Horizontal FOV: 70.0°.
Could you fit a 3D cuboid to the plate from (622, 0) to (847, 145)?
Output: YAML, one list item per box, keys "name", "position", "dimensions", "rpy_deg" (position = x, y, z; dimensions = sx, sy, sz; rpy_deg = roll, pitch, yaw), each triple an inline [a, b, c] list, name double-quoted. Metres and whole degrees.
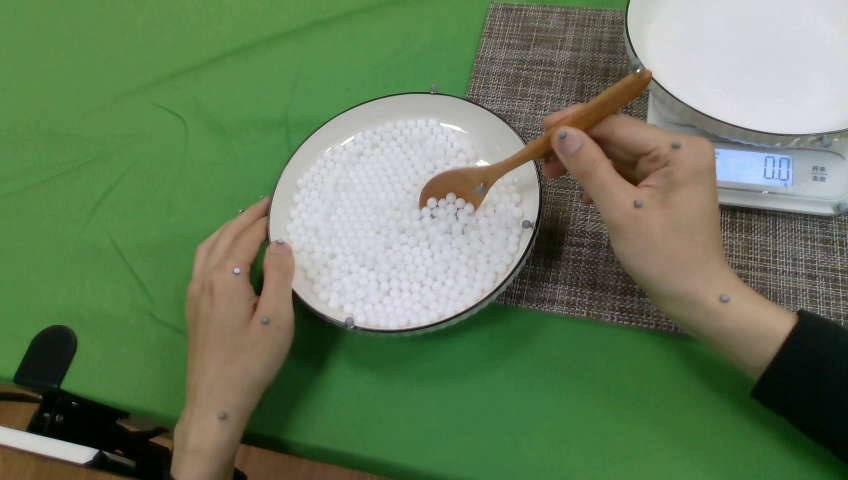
- name: "plate"
  position: [0.253, -0.152, 0.453]
  dimensions: [0.207, 0.039, 0.206]
  rpy_deg: [-3, 63, 6]

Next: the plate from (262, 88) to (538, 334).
- name: "plate"
  position: [-0.018, -0.024, 0.462]
  dimensions: [0.209, 0.038, 0.207]
  rpy_deg: [-4, 63, 7]

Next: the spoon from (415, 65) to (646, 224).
- name: "spoon"
  position: [0.061, -0.056, 0.400]
  dimensions: [0.042, 0.193, 0.021]
  rpy_deg: [49, 47, -12]

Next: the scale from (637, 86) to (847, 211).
- name: "scale"
  position: [0.250, -0.120, 0.474]
  dimensions: [0.148, 0.032, 0.199]
  rpy_deg: [8, 65, 12]
